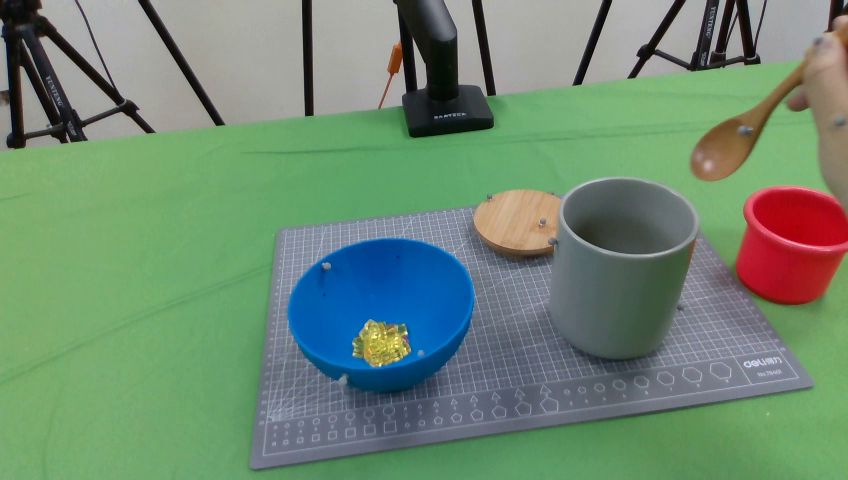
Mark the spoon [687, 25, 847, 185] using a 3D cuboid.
[{"bbox_3d":[0.223,-0.090,0.369,0.022,0.194,0.041,2,66,-9],"label":"spoon"}]

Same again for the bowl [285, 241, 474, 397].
[{"bbox_3d":[-0.033,0.077,0.507,0.151,0.077,0.150,-2,39,2],"label":"bowl"}]

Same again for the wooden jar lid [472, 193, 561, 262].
[{"bbox_3d":[0.106,-0.013,0.652,0.108,0.021,0.107,-3,38,3],"label":"wooden jar lid"}]

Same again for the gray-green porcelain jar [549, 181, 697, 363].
[{"bbox_3d":[0.160,0.031,0.507,0.106,0.127,0.105,-3,39,3],"label":"gray-green porcelain jar"}]
